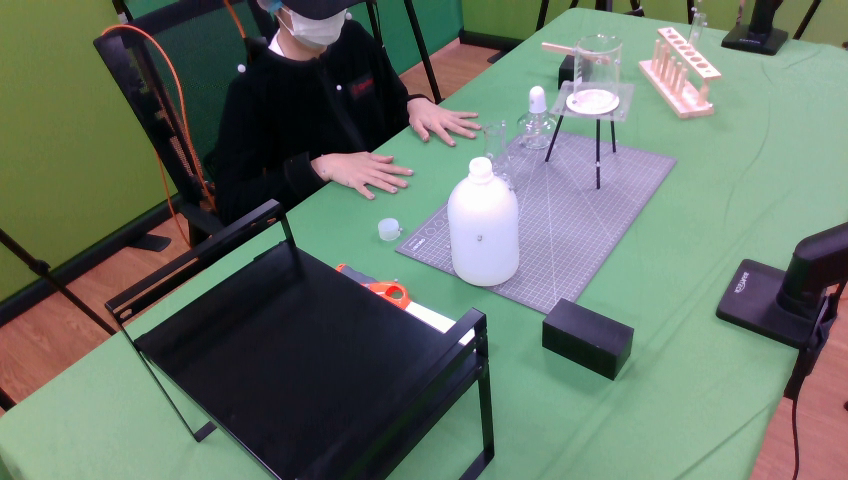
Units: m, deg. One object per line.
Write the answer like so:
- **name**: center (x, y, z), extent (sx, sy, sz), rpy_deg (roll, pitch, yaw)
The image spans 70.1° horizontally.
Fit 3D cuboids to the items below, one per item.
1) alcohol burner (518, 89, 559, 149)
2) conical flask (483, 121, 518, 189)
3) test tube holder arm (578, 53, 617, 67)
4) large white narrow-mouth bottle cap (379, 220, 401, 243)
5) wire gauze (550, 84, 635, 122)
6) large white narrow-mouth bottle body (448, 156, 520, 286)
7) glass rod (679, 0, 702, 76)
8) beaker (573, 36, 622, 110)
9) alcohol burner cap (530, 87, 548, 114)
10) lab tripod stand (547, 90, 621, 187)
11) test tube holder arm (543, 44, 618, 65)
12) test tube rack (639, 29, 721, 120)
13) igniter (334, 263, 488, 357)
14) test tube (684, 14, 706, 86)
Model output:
- **alcohol burner**: center (0.218, -0.235, 1.149), extent (0.078, 0.119, 0.077), rpy_deg (-5, 43, 5)
- **conical flask**: center (0.126, -0.145, 1.051), extent (0.075, 0.122, 0.075), rpy_deg (-5, 40, 4)
- **test tube holder arm**: center (0.375, -0.393, 1.314), extent (0.087, 0.015, 0.010), rpy_deg (25, 50, 32)
- **large white narrow-mouth bottle cap**: center (-0.057, -0.015, 1.011), extent (0.038, 0.024, 0.037), rpy_deg (-4, 40, 4)
- **wire gauze**: center (0.285, -0.234, 1.021), extent (0.124, 0.011, 0.121), rpy_deg (8, 41, 23)
- **large white narrow-mouth bottle body**: center (0.086, -0.032, 0.869), extent (0.102, 0.195, 0.101), rpy_deg (-4, 40, 4)
- **glass rod**: center (0.542, -0.416, 1.233), extent (0.008, 0.200, 0.008), rpy_deg (1, 39, 0)
- **beaker**: center (0.283, -0.273, 0.990), extent (0.073, 0.101, 0.084), rpy_deg (15, 46, 28)
- **alcohol burner cap**: center (0.212, -0.262, 1.126), extent (0.034, 0.048, 0.033), rpy_deg (-8, 36, 7)
- **lab tripod stand**: center (0.289, -0.184, 1.062), extent (0.148, 0.132, 0.147), rpy_deg (-6, 41, 6)
- **test tube holder arm**: center (0.344, -0.412, 1.340), extent (0.177, 0.015, 0.013), rpy_deg (24, 50, 31)
- **test tube rack**: center (0.527, -0.351, 1.262), extent (0.067, 0.085, 0.241), rpy_deg (-7, 40, 1)
- **igniter**: center (-0.030, 0.095, 0.872), extent (0.274, 0.025, 0.057), rpy_deg (23, 59, 31)
- **test tube**: center (0.540, -0.378, 1.215), extent (0.017, 0.151, 0.017), rpy_deg (-2, 44, 3)
